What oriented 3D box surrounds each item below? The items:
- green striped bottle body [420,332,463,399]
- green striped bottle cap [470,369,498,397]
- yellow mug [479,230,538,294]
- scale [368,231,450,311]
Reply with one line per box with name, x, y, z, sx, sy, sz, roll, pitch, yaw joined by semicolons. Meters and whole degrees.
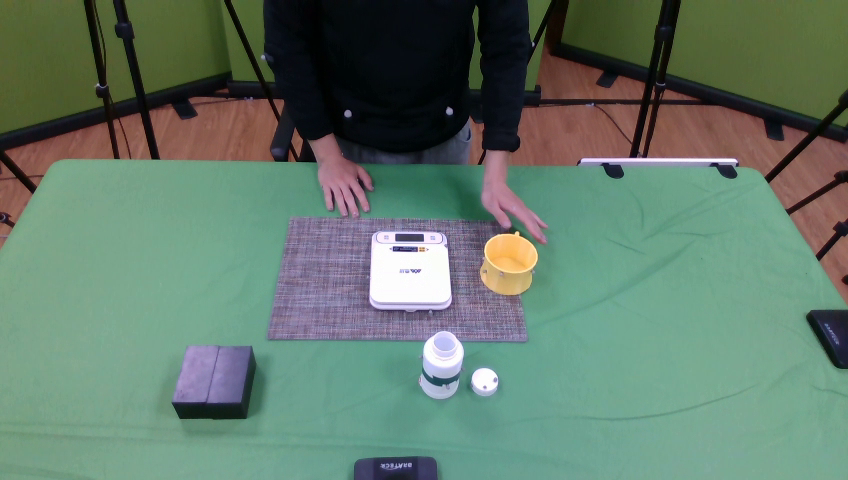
green striped bottle body;0.027;0.193;0.947;0.063;0.120;0.063;2;47;-2
green striped bottle cap;0.098;0.232;0.989;0.044;0.020;0.044;2;41;-1
yellow mug;0.161;0.033;1.143;0.100;0.064;0.130;14;46;9
scale;-0.029;0.049;1.137;0.149;0.032;0.199;1;46;-4
